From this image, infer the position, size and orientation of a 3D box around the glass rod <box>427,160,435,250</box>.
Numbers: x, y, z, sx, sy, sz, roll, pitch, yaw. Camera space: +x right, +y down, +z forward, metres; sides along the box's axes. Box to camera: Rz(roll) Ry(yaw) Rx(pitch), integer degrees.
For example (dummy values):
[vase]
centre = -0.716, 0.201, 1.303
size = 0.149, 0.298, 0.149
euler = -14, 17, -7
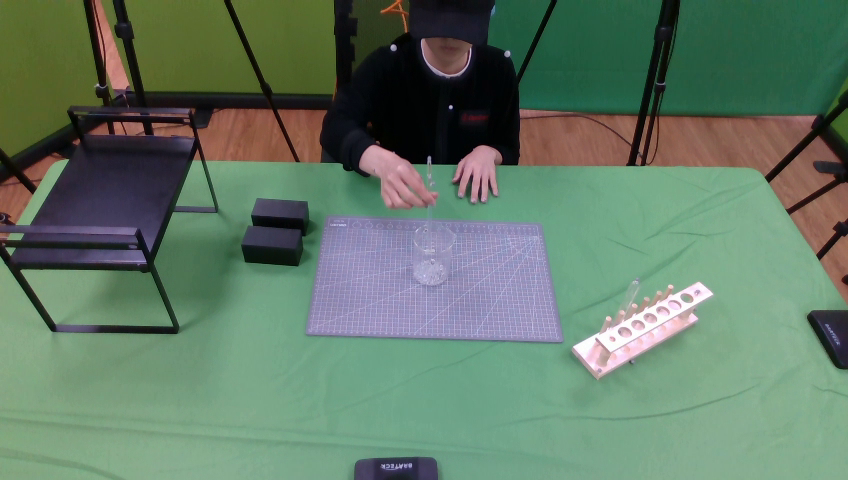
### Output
[glass rod]
centre = 0.012, -0.055, 1.035
size = 0.008, 0.201, 0.008
euler = -2, 43, 2

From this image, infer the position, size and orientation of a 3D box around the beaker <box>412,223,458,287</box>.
[beaker]
centre = 0.018, 0.030, 1.109
size = 0.084, 0.101, 0.073
euler = -10, 48, -14

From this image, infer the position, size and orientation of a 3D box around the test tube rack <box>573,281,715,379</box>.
[test tube rack]
centre = 0.378, 0.140, 1.038
size = 0.242, 0.085, 0.066
euler = -22, 51, -23

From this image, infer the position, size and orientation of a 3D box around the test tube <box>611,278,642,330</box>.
[test tube]
centre = 0.332, 0.113, 0.999
size = 0.017, 0.151, 0.017
euler = 1, 48, -1
